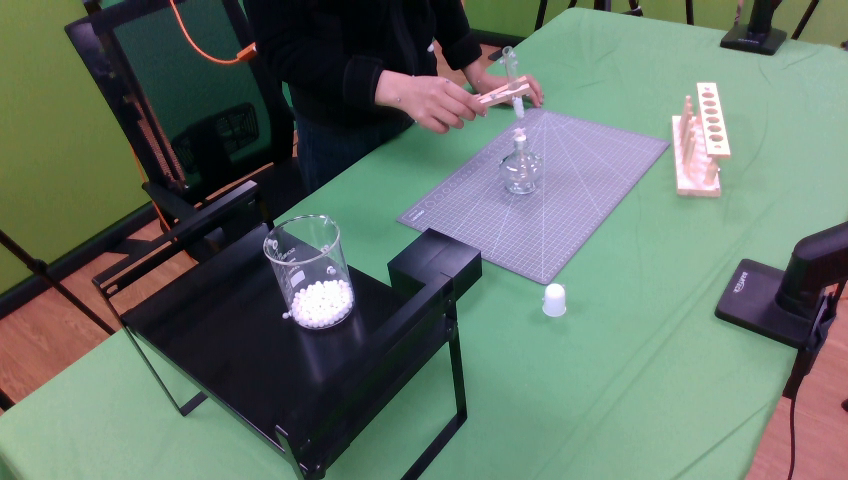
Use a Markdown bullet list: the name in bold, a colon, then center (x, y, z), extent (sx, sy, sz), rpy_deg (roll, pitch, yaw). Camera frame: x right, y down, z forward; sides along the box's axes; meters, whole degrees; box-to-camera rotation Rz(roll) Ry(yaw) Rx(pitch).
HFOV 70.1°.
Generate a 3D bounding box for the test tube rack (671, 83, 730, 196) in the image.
- **test tube rack**: center (0.482, -0.184, 1.067), extent (0.066, 0.085, 0.242), rpy_deg (6, 42, 15)

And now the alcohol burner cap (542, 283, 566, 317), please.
- **alcohol burner cap**: center (0.181, 0.081, 0.839), extent (0.034, 0.048, 0.033), rpy_deg (-4, 40, 3)

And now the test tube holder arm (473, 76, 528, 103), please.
- **test tube holder arm**: center (0.118, -0.227, 0.931), extent (0.088, 0.015, 0.010), rpy_deg (-23, 56, 7)

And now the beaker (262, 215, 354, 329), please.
- **beaker**: center (-0.112, 0.034, 0.616), extent (0.073, 0.101, 0.084), rpy_deg (13, 44, 22)

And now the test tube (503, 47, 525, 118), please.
- **test tube**: center (0.139, -0.236, 0.919), extent (0.017, 0.151, 0.017), rpy_deg (-7, 62, 14)

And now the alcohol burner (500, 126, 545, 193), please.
- **alcohol burner**: center (0.168, -0.141, 1.039), extent (0.078, 0.119, 0.077), rpy_deg (-6, 41, 5)

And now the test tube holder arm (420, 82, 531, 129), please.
- **test tube holder arm**: center (0.078, -0.208, 0.936), extent (0.178, 0.015, 0.013), rpy_deg (-18, 56, 10)
